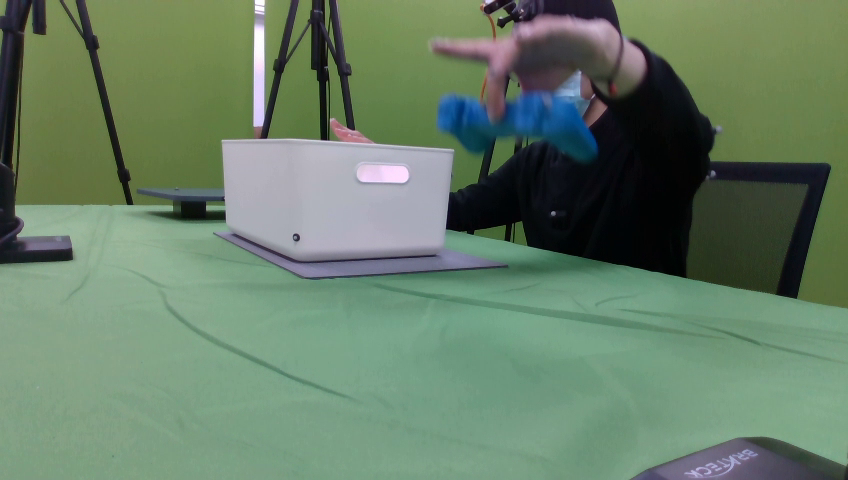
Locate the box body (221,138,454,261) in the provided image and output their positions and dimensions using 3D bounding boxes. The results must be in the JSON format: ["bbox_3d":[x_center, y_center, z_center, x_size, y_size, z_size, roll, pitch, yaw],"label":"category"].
[{"bbox_3d":[-0.151,-0.074,0.963,0.255,0.160,0.362,-3,9,-33],"label":"box body"}]

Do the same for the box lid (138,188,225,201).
[{"bbox_3d":[-0.433,-0.105,1.395,0.374,0.015,0.262,-5,10,-44],"label":"box lid"}]

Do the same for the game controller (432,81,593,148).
[{"bbox_3d":[0.080,-0.126,0.590,0.154,0.051,0.098,10,-3,42],"label":"game controller"}]
